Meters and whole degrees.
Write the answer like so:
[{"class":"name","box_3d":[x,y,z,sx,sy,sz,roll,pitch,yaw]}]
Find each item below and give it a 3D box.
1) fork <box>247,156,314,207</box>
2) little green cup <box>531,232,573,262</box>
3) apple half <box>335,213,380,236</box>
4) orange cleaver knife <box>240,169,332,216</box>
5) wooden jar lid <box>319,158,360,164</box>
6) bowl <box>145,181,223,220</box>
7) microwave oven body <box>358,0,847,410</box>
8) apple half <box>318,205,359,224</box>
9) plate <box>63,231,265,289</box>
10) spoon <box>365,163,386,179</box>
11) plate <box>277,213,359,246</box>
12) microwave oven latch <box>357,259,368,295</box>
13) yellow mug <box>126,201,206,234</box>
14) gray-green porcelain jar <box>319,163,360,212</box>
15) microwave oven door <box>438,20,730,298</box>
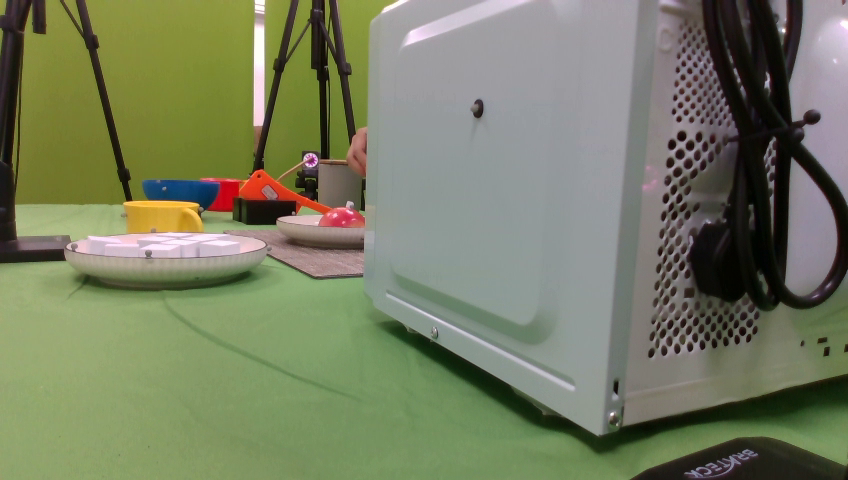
[{"class":"fork","box_3d":[-0.360,-0.147,1.523,0.207,0.018,0.028,-43,16,-7]},{"class":"little green cup","box_3d":[0.185,0.010,0.879,0.061,0.038,0.061,1,6,0]},{"class":"apple half","box_3d":[-0.112,-0.029,1.034,0.081,0.033,0.081,0,10,0]},{"class":"orange cleaver knife","box_3d":[-0.286,-0.082,1.298,0.212,0.077,0.012,25,-2,-31]},{"class":"wooden jar lid","box_3d":[-0.203,-0.189,1.482,0.108,0.020,0.108,2,10,0]},{"class":"bowl","box_3d":[-0.499,-0.081,1.261,0.151,0.077,0.151,2,7,0]},{"class":"microwave oven body","box_3d":[0.210,-0.051,0.471,0.444,0.260,0.324,-1,7,-28]},{"class":"apple half","box_3d":[-0.126,-0.028,0.954,0.081,0.053,0.074,-2,11,-33]},{"class":"plate","box_3d":[-0.288,0.021,0.687,0.208,0.039,0.207,2,8,0]},{"class":"spoon","box_3d":[-0.090,-0.127,1.069,0.042,0.021,0.193,33,5,-12]},{"class":"plate","box_3d":[-0.135,-0.018,0.993,0.209,0.038,0.209,2,7,0]},{"class":"microwave oven latch","box_3d":[-0.019,0.031,0.529,0.079,0.029,0.030,-1,7,-26]},{"class":"yellow mug","box_3d":[-0.360,-0.019,0.866,0.130,0.064,0.100,6,9,27]},{"class":"gray-green porcelain jar","box_3d":[-0.204,-0.126,1.489,0.106,0.126,0.106,2,7,0]},{"class":"microwave oven door","box_3d":[0.181,-0.076,0.618,0.358,0.243,0.039,-2,8,-28]}]
